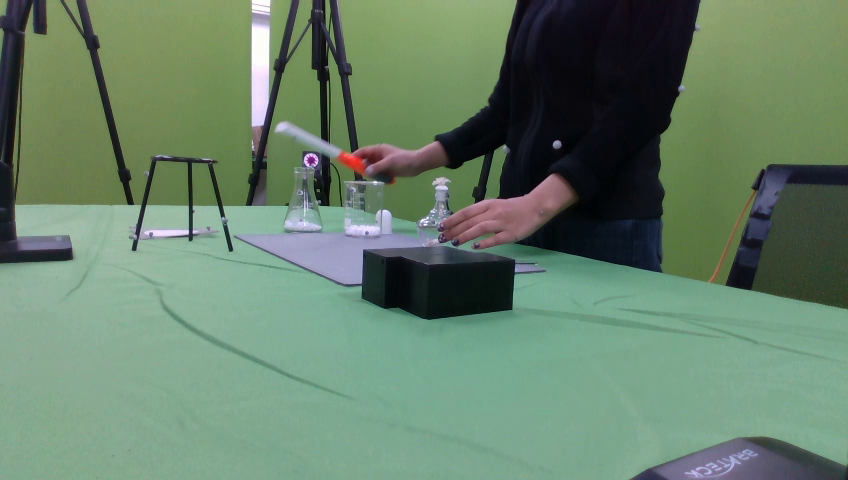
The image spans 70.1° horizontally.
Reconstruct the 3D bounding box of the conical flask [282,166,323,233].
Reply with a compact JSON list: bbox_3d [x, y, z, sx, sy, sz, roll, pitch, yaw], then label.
[{"bbox_3d":[-0.225,-0.076,1.129,0.075,0.122,0.075,2,8,0],"label":"conical flask"}]

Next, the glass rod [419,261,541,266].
[{"bbox_3d":[0.080,0.031,0.807,0.201,0.008,0.008,1,6,-32],"label":"glass rod"}]

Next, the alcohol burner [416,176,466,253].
[{"bbox_3d":[0.027,-0.040,0.934,0.078,0.119,0.078,3,9,0],"label":"alcohol burner"}]

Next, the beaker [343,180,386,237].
[{"bbox_3d":[-0.111,-0.058,1.090,0.083,0.100,0.074,7,8,33],"label":"beaker"}]

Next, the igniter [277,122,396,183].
[{"bbox_3d":[-0.168,-0.172,1.220,0.278,0.025,0.057,23,-9,-40],"label":"igniter"}]

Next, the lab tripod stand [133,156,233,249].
[{"bbox_3d":[-0.342,-0.054,0.878,0.148,0.131,0.148,4,6,0],"label":"lab tripod stand"}]

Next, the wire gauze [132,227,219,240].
[{"bbox_3d":[-0.421,-0.014,1.024,0.122,0.011,0.124,-2,7,-34],"label":"wire gauze"}]

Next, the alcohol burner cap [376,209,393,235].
[{"bbox_3d":[-0.075,-0.036,1.150,0.034,0.048,0.034,3,7,0],"label":"alcohol burner cap"}]
